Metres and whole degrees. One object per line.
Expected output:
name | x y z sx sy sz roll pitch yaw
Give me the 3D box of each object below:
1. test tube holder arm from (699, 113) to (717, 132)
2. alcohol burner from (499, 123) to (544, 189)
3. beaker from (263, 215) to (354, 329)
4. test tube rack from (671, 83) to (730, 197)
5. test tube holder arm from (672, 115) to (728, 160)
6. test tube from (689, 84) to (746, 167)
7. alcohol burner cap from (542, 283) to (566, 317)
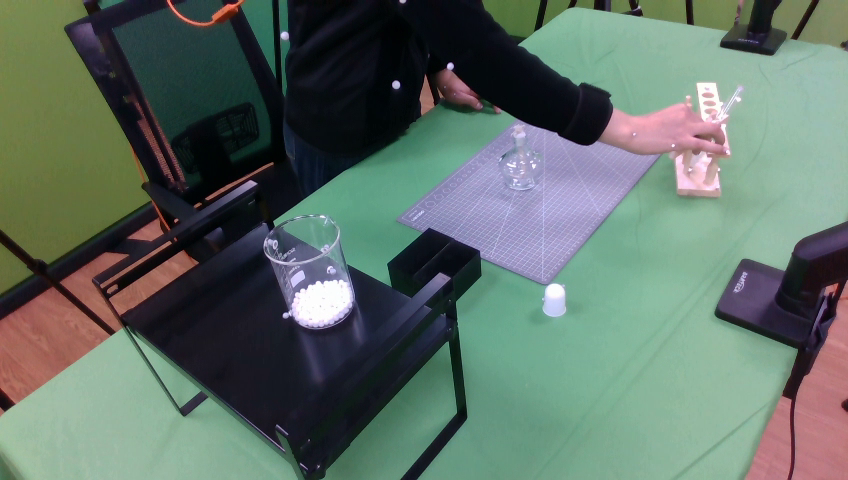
test tube holder arm | 0.452 -0.182 0.963 0.010 0.015 0.088 15 36 30
alcohol burner | 0.169 -0.149 1.048 0.078 0.119 0.077 -6 41 5
beaker | -0.112 0.034 0.616 0.073 0.101 0.084 13 44 23
test tube rack | 0.482 -0.184 1.067 0.066 0.085 0.242 6 42 15
test tube holder arm | 0.427 -0.161 0.931 0.013 0.015 0.179 22 40 39
test tube | 0.483 -0.188 1.005 0.017 0.150 0.017 21 25 -10
alcohol burner cap | 0.182 0.081 0.839 0.034 0.048 0.033 -4 41 4
